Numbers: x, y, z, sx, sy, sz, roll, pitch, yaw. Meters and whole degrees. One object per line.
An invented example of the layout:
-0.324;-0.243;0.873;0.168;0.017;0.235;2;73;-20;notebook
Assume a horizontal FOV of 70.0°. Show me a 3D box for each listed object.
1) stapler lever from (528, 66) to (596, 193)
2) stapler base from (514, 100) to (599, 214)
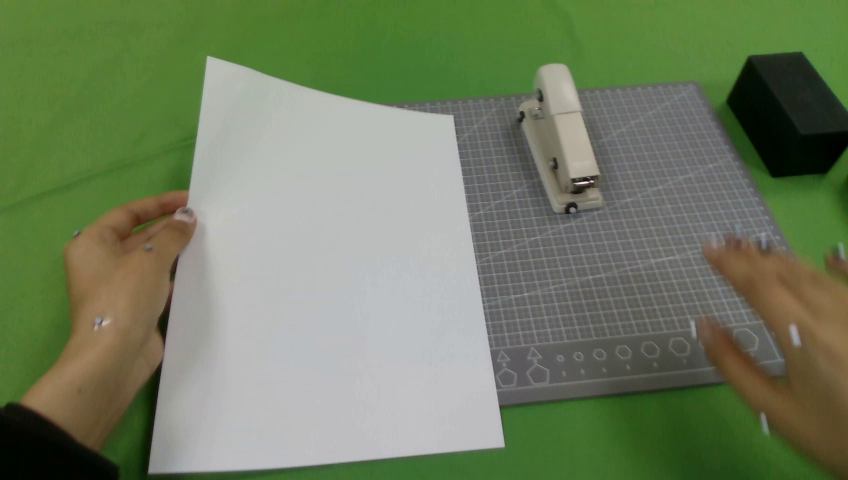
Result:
0.111;-0.093;0.491;0.027;0.040;0.117;-9;56;-4;stapler lever
0.111;-0.079;0.513;0.041;0.024;0.129;-9;56;-4;stapler base
